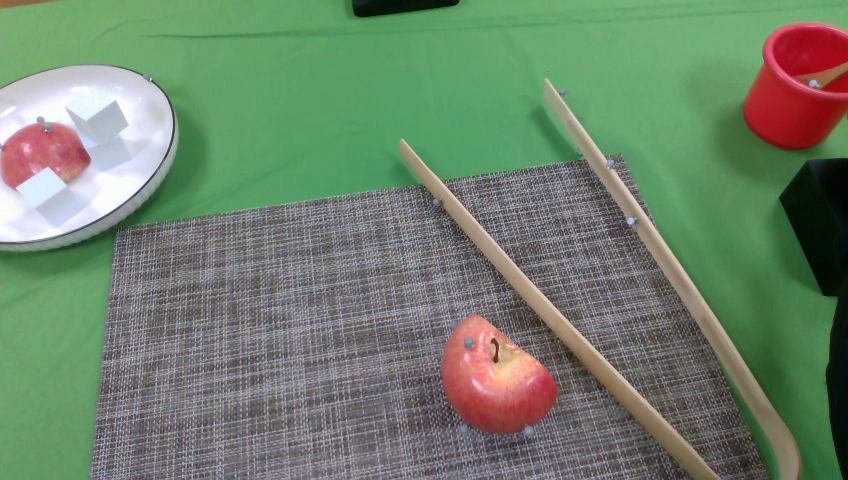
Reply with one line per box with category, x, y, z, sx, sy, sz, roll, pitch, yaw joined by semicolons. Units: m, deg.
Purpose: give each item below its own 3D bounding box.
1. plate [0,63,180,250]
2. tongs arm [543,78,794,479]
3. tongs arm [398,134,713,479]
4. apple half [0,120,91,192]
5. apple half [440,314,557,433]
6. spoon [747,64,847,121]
plate;-0.320;-0.075;0.542;0.209;0.038;0.207;0;57;1
tongs arm;0.167;0.010;0.482;0.051;0.027;0.381;-18;60;-12
tongs arm;0.092;0.042;0.464;0.028;0.028;0.384;-29;62;-22
apple half;-0.342;-0.081;0.539;0.081;0.033;0.080;-2;55;3
apple half;0.041;0.097;0.403;0.080;0.075;0.053;39;69;19
spoon;0.377;-0.150;0.514;0.022;0.193;0.041;30;54;-30
